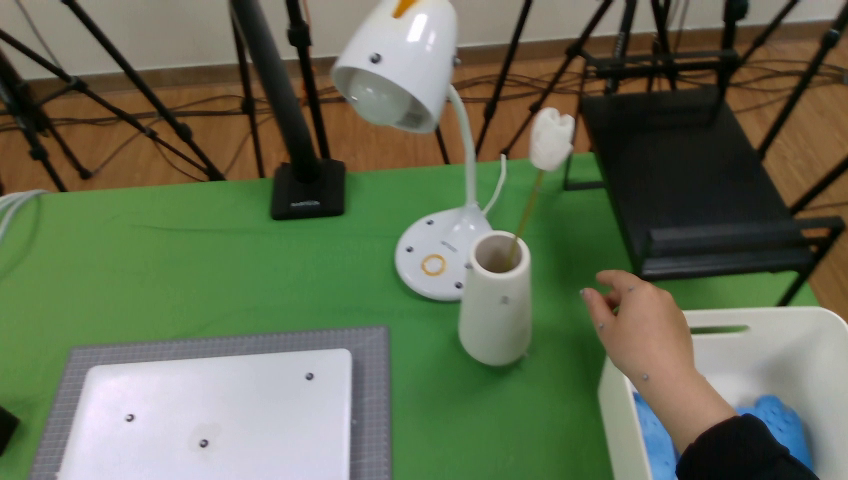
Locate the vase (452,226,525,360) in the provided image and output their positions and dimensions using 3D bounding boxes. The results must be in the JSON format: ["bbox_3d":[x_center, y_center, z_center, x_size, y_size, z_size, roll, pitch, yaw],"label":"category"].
[{"bbox_3d":[0.082,0.069,0.763,0.098,0.202,0.097,-2,51,3],"label":"vase"}]

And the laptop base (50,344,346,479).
[{"bbox_3d":[-0.274,0.250,0.754,0.354,0.023,0.233,-4,56,-1],"label":"laptop base"}]

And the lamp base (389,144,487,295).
[{"bbox_3d":[0.030,-0.041,0.862,0.159,0.182,0.178,24,55,20],"label":"lamp base"}]

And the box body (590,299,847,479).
[{"bbox_3d":[0.332,0.258,0.628,0.254,0.162,0.360,-3,52,1],"label":"box body"}]

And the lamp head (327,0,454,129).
[{"bbox_3d":[-0.020,-0.185,0.597,0.112,0.113,0.122,21,74,18],"label":"lamp head"}]

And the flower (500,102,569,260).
[{"bbox_3d":[0.094,0.010,0.703,0.038,0.364,0.043,-5,41,-22],"label":"flower"}]

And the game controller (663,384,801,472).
[{"bbox_3d":[0.364,0.221,0.722,0.155,0.052,0.096,-1,51,0],"label":"game controller"}]

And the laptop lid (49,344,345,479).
[{"bbox_3d":[-0.275,0.245,0.743,0.357,0.013,0.239,-3,55,1],"label":"laptop lid"}]

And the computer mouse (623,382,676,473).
[{"bbox_3d":[0.256,0.220,0.728,0.063,0.041,0.116,-6,43,1],"label":"computer mouse"}]
